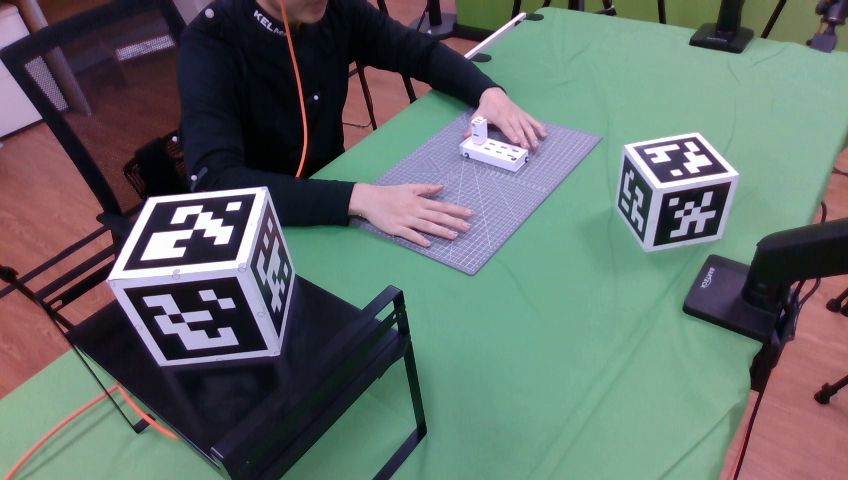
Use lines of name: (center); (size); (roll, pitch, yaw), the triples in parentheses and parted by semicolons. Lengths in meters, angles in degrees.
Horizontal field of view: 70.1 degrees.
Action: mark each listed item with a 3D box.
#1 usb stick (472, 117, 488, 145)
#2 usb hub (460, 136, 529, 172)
usb stick: (0.105, -0.199, 1.137); (0.021, 0.059, 0.027); (22, 49, 29)
usb hub: (0.132, -0.164, 1.138); (0.124, 0.025, 0.049); (22, 49, 30)
